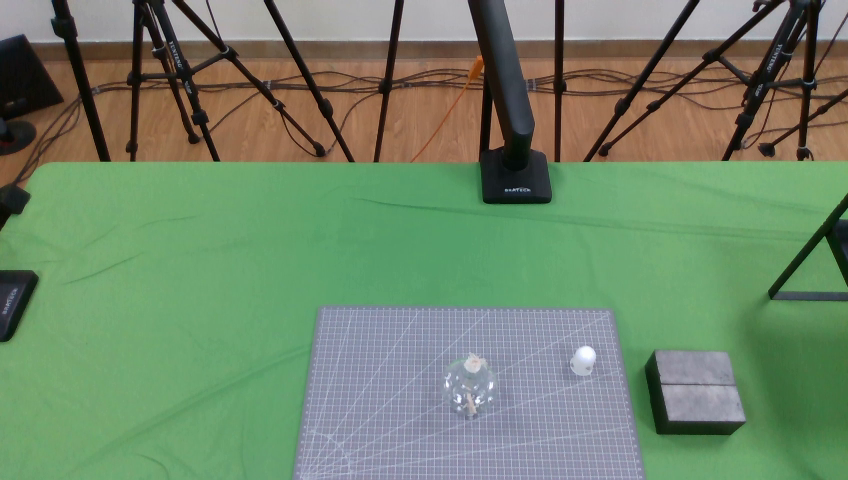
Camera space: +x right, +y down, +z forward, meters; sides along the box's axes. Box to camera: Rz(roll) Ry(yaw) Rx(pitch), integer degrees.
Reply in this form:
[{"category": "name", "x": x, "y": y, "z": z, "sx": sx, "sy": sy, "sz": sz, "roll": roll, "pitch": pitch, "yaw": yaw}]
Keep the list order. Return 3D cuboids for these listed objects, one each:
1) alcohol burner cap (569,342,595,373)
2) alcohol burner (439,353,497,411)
[{"category": "alcohol burner cap", "x": 0.224, "y": 0.162, "z": 0.852, "sx": 0.034, "sy": 0.048, "sz": 0.033, "roll": 0, "pitch": 53, "yaw": 0}, {"category": "alcohol burner", "x": 0.060, "y": 0.178, "z": 0.795, "sx": 0.078, "sy": 0.120, "sz": 0.077, "roll": 1, "pitch": 54, "yaw": -1}]
